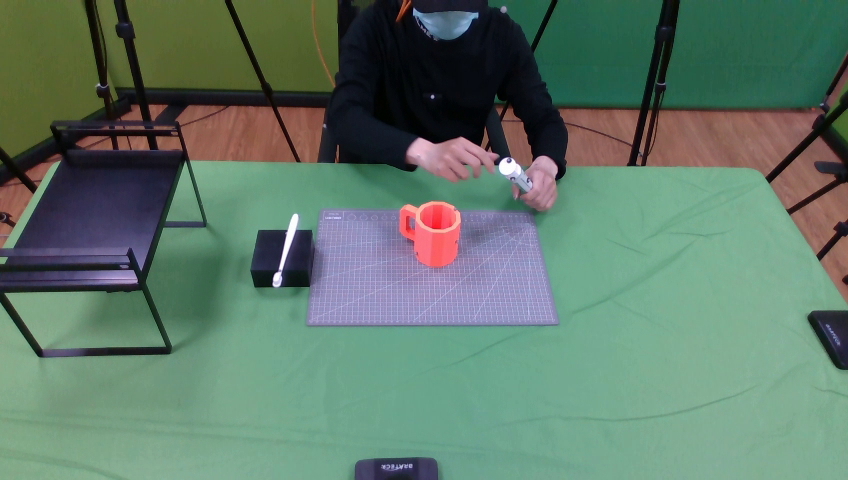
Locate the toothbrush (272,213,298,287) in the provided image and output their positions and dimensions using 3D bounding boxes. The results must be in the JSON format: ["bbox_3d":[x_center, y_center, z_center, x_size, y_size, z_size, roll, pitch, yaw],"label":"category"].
[{"bbox_3d":[-0.252,0.013,1.103,0.014,0.017,0.181,1,46,2],"label":"toothbrush"}]

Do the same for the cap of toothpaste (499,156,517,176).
[{"bbox_3d":[0.163,-0.143,1.159,0.037,0.011,0.037,-5,79,26],"label":"cap of toothpaste"}]

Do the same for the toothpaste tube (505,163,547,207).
[{"bbox_3d":[0.204,-0.113,1.224,0.034,0.166,0.054,-44,54,9],"label":"toothpaste tube"}]

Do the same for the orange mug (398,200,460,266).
[{"bbox_3d":[0.007,-0.020,1.161,0.126,0.101,0.083,27,50,14],"label":"orange mug"}]
